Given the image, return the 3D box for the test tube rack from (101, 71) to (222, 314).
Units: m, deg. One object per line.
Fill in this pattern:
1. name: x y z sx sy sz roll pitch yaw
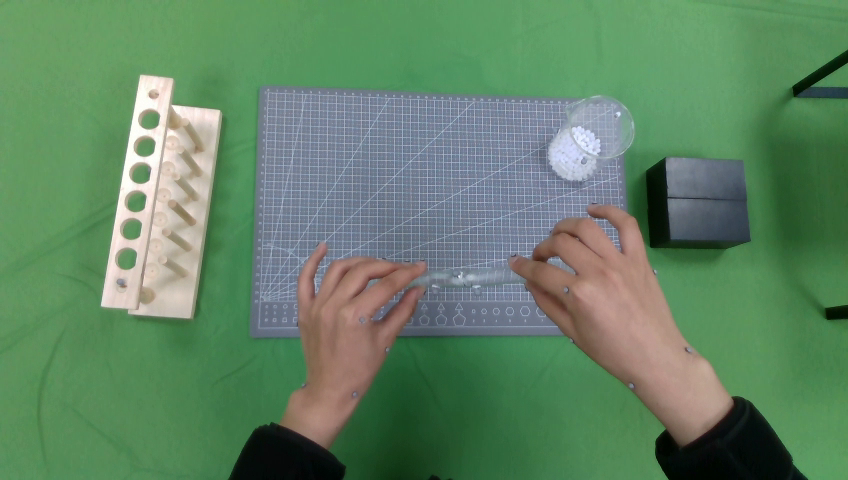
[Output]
1. test tube rack: -0.275 -0.047 0.650 0.067 0.085 0.241 5 79 -5

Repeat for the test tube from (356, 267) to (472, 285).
1. test tube: -0.015 0.034 0.568 0.017 0.149 0.017 3 86 -44

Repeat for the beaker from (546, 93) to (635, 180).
1. beaker: 0.187 -0.118 0.710 0.084 0.100 0.074 32 77 2

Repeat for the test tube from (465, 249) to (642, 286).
1. test tube: 0.109 0.023 0.512 0.150 0.017 0.017 -6 80 0
